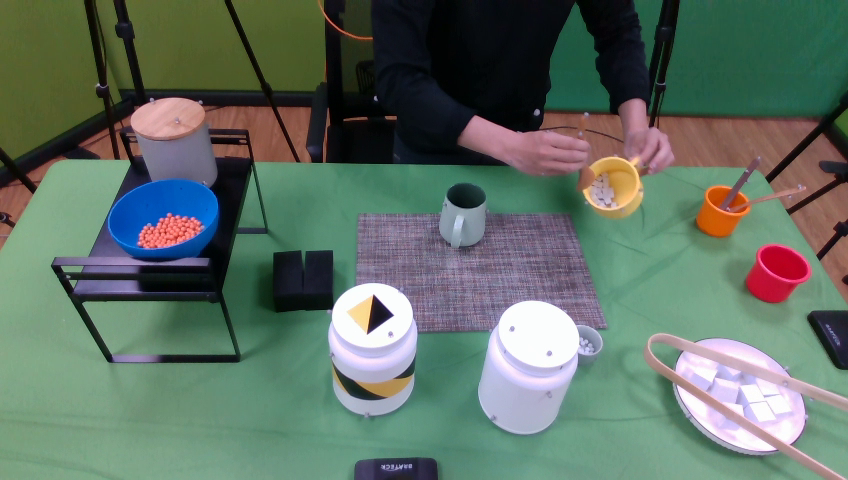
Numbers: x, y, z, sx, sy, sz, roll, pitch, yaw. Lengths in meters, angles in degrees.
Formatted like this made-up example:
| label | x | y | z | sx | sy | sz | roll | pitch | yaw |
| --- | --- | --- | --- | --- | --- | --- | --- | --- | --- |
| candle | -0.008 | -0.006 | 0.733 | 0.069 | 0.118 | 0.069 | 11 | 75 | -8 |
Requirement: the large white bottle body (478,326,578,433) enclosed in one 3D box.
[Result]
| label | x | y | z | sx | sy | sz | roll | pitch | yaw |
| --- | --- | --- | --- | --- | --- | --- | --- | --- | --- |
| large white bottle body | 0.156 | 0.192 | 0.913 | 0.131 | 0.185 | 0.130 | 2 | 46 | -2 |

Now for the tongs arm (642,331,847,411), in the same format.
| label | x | y | z | sx | sy | sz | roll | pitch | yaw |
| --- | --- | --- | --- | --- | --- | --- | --- | --- | --- |
| tongs arm | 0.546 | 0.227 | 0.968 | 0.384 | 0.026 | 0.050 | 22 | 52 | 13 |

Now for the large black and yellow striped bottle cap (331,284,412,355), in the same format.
| label | x | y | z | sx | sy | sz | roll | pitch | yaw |
| --- | --- | --- | --- | --- | --- | --- | --- | --- | --- |
| large black and yellow striped bottle cap | -0.073 | 0.110 | 0.858 | 0.115 | 0.019 | 0.114 | 2 | 46 | -2 |

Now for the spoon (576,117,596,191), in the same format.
| label | x | y | z | sx | sy | sz | roll | pitch | yaw |
| --- | --- | --- | --- | --- | --- | --- | --- | --- | --- |
| spoon | 0.270 | -0.140 | 1.022 | 0.041 | 0.195 | 0.021 | -31 | 53 | -3 |

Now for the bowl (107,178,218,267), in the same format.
| label | x | y | z | sx | sy | sz | roll | pitch | yaw |
| --- | --- | --- | --- | --- | --- | --- | --- | --- | --- |
| bowl | -0.374 | -0.014 | 0.893 | 0.151 | 0.077 | 0.150 | 2 | 46 | -2 |

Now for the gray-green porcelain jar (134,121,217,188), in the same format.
| label | x | y | z | sx | sy | sz | roll | pitch | yaw |
| --- | --- | --- | --- | --- | --- | --- | --- | --- | --- |
| gray-green porcelain jar | -0.397 | -0.141 | 0.980 | 0.106 | 0.127 | 0.105 | 2 | 47 | -2 |

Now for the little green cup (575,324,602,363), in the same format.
| label | x | y | z | sx | sy | sz | roll | pitch | yaw |
| --- | --- | --- | --- | --- | --- | --- | --- | --- | --- |
| little green cup | 0.269 | 0.179 | 1.036 | 0.061 | 0.039 | 0.061 | 3 | 46 | -2 |

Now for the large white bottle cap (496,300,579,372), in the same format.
| label | x | y | z | sx | sy | sz | roll | pitch | yaw |
| --- | --- | --- | --- | --- | --- | --- | --- | --- | --- |
| large white bottle cap | 0.160 | 0.133 | 0.852 | 0.115 | 0.018 | 0.114 | 3 | 46 | -2 |

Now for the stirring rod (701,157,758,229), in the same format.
| label | x | y | z | sx | sy | sz | roll | pitch | yaw |
| --- | --- | --- | --- | --- | --- | --- | --- | --- | --- |
| stirring rod | 0.634 | -0.097 | 1.257 | 0.014 | 0.006 | 0.176 | 38 | 97 | 30 |

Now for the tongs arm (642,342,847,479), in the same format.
| label | x | y | z | sx | sy | sz | roll | pitch | yaw |
| --- | --- | --- | --- | --- | --- | --- | --- | --- | --- |
| tongs arm | 0.504 | 0.278 | 0.918 | 0.386 | 0.028 | 0.028 | 34 | 59 | 22 |

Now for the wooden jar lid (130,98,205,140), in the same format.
| label | x | y | z | sx | sy | sz | roll | pitch | yaw |
| --- | --- | --- | --- | --- | --- | --- | --- | --- | --- |
| wooden jar lid | -0.393 | -0.183 | 0.934 | 0.108 | 0.021 | 0.107 | 3 | 43 | -2 |

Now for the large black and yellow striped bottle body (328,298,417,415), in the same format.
| label | x | y | z | sx | sy | sz | roll | pitch | yaw |
| --- | --- | --- | --- | --- | --- | --- | --- | --- | --- |
| large black and yellow striped bottle body | -0.078 | 0.167 | 0.920 | 0.131 | 0.185 | 0.130 | 2 | 46 | -2 |

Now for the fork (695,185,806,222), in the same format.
| label | x | y | z | sx | sy | sz | roll | pitch | yaw |
| --- | --- | --- | --- | --- | --- | --- | --- | --- | --- |
| fork | 0.657 | -0.074 | 1.229 | 0.207 | 0.019 | 0.028 | -23 | 37 | 37 |

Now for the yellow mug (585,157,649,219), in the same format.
| label | x | y | z | sx | sy | sz | roll | pitch | yaw |
| --- | --- | --- | --- | --- | --- | --- | --- | --- | --- |
| yellow mug | 0.363 | -0.105 | 1.120 | 0.131 | 0.064 | 0.099 | -43 | 67 | 9 |

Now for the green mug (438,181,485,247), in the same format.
| label | x | y | z | sx | sy | sz | roll | pitch | yaw |
| --- | --- | --- | --- | --- | --- | --- | --- | --- | --- |
| green mug | 0.071 | -0.039 | 1.178 | 0.092 | 0.105 | 0.124 | 12 | 47 | 7 |

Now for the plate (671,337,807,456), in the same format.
| label | x | y | z | sx | sy | sz | roll | pitch | yaw |
| --- | --- | --- | --- | --- | --- | --- | --- | --- | --- |
| plate | 0.504 | 0.254 | 0.984 | 0.208 | 0.039 | 0.206 | 2 | 46 | -2 |
